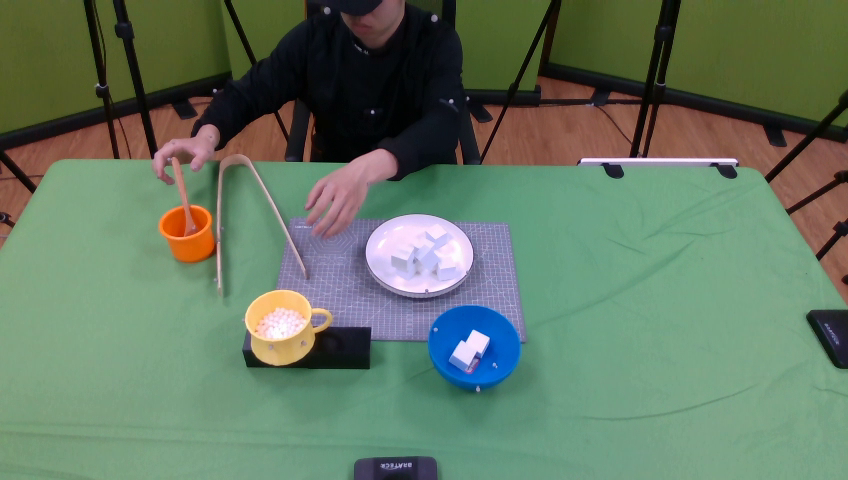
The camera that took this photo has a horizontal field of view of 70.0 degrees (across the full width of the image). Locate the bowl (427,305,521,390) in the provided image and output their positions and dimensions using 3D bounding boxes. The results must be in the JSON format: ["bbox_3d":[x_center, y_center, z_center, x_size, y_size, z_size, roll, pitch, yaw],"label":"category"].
[{"bbox_3d":[0.076,0.188,0.985,0.151,0.077,0.150,3,46,-3],"label":"bowl"}]

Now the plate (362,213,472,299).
[{"bbox_3d":[-0.013,0.034,1.150,0.208,0.039,0.206,2,46,-2],"label":"plate"}]

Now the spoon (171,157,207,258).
[{"bbox_3d":[-0.444,-0.061,1.132,0.041,0.194,0.021,-12,5,-10],"label":"spoon"}]

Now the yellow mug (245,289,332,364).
[{"bbox_3d":[-0.210,0.133,0.954,0.131,0.064,0.099,-9,48,-14],"label":"yellow mug"}]

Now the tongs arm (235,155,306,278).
[{"bbox_3d":[-0.312,-0.059,1.224,0.028,0.028,0.385,-22,50,-18],"label":"tongs arm"}]

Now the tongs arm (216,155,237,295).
[{"bbox_3d":[-0.388,-0.043,1.201,0.051,0.026,0.382,-10,46,-12],"label":"tongs arm"}]
